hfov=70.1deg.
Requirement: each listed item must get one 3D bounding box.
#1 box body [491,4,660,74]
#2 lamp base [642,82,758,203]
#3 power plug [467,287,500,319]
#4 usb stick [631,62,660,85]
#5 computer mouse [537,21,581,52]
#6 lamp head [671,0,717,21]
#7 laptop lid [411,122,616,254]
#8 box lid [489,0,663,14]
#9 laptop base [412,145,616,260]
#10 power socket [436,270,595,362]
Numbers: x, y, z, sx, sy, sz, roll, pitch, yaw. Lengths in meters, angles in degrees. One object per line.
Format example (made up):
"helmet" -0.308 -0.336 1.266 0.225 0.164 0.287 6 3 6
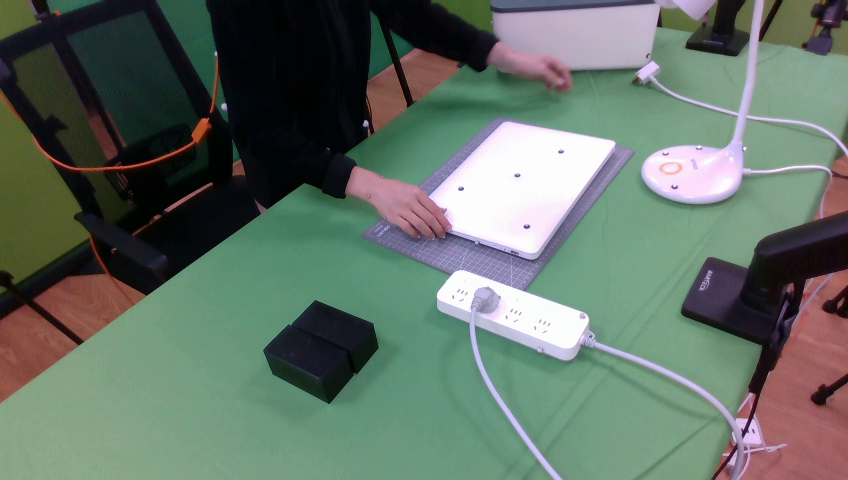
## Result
"box body" 0.346 -0.520 1.429 0.363 0.161 0.253 0 41 9
"lamp base" 0.464 -0.174 0.992 0.179 0.181 0.159 -5 41 -1
"power plug" 0.072 0.091 0.814 0.035 0.053 0.073 30 53 35
"usb stick" 0.480 -0.358 1.317 0.059 0.022 0.027 -35 56 14
"computer mouse" 0.335 -0.503 1.487 0.118 0.041 0.062 22 19 -28
"lamp head" 0.375 -0.373 0.807 0.122 0.113 0.112 -40 27 32
"laptop lid" 0.165 -0.110 1.066 0.240 0.013 0.357 19 46 30
"box lid" 0.340 -0.575 1.380 0.371 0.015 0.262 0 41 9
"laptop base" 0.168 -0.101 1.072 0.234 0.023 0.355 16 45 30
"power socket" 0.118 0.101 0.832 0.225 0.033 0.072 19 48 27
